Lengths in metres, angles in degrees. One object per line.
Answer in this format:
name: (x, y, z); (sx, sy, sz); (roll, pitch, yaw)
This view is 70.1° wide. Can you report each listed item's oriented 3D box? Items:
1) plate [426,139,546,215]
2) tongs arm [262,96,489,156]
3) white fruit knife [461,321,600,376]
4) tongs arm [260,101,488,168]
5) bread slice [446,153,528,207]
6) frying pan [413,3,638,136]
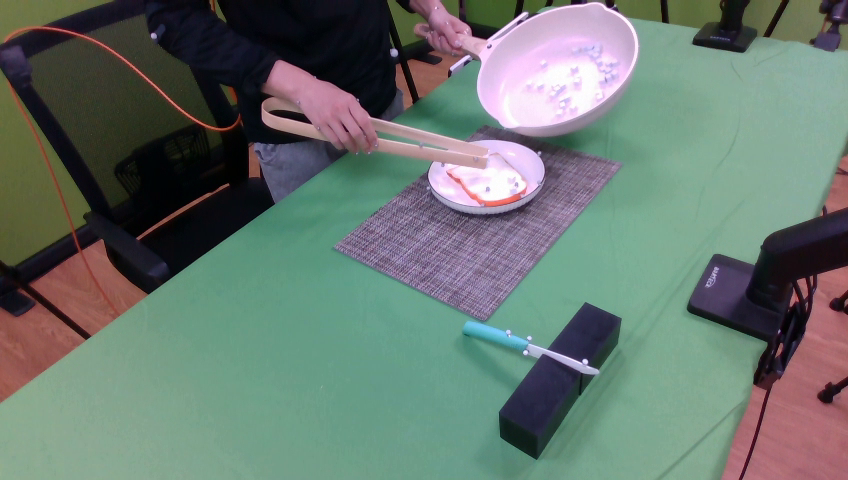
plate: (0.109, -0.106, 1.058); (0.207, 0.039, 0.206); (-4, 40, 4)
tongs arm: (-0.080, -0.192, 1.028); (0.388, 0.028, 0.028); (12, 52, -4)
white fruit knife: (0.126, 0.133, 0.752); (0.205, 0.027, 0.016); (12, 45, 42)
tongs arm: (-0.083, -0.175, 1.012); (0.386, 0.026, 0.050); (8, 49, -7)
bread slice: (0.118, -0.104, 1.057); (0.107, 0.018, 0.133); (-24, 41, -18)
frying pan: (0.167, -0.350, 1.161); (0.484, 0.103, 0.307); (30, 76, 29)
